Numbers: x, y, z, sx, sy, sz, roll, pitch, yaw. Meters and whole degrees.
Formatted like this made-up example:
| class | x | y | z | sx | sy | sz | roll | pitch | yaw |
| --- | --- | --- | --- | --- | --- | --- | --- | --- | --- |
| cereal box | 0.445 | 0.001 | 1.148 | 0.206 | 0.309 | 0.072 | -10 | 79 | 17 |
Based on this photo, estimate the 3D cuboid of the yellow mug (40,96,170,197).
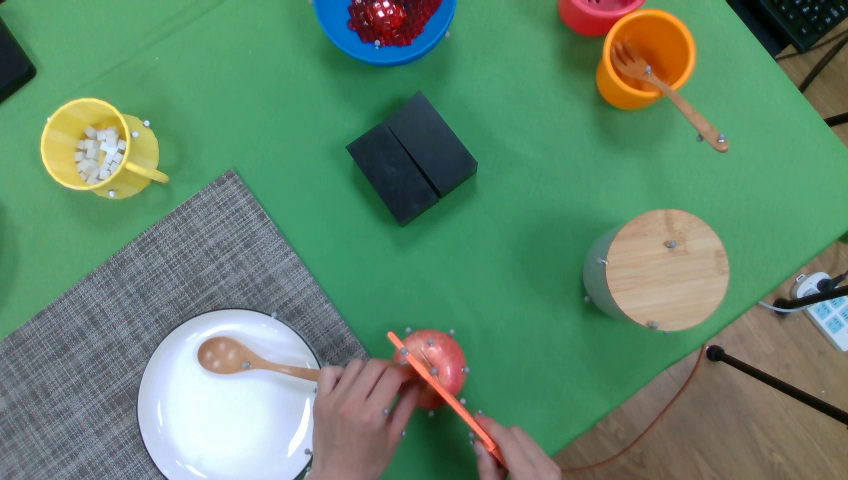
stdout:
| class | x | y | z | sx | sy | sz | roll | pitch | yaw |
| --- | --- | --- | --- | --- | --- | --- | --- | --- | --- |
| yellow mug | -0.343 | -0.096 | 0.672 | 0.131 | 0.064 | 0.100 | 24 | 88 | 3 |

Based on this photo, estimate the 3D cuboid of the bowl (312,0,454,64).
| class | x | y | z | sx | sy | sz | roll | pitch | yaw |
| --- | --- | --- | --- | --- | --- | --- | --- | --- | --- |
| bowl | -0.039 | -0.255 | 0.656 | 0.151 | 0.077 | 0.151 | 0 | 87 | 3 |

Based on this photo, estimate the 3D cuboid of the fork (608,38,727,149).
| class | x | y | z | sx | sy | sz | roll | pitch | yaw |
| --- | --- | --- | --- | --- | --- | --- | --- | --- | --- |
| fork | 0.237 | -0.150 | 0.600 | 0.028 | 0.019 | 0.205 | -21 | 43 | 2 |

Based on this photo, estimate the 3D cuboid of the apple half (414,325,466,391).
| class | x | y | z | sx | sy | sz | roll | pitch | yaw |
| --- | --- | --- | --- | --- | --- | --- | --- | --- | --- |
| apple half | 0.025 | 0.115 | 0.633 | 0.033 | 0.081 | 0.081 | -35 | 85 | 9 |

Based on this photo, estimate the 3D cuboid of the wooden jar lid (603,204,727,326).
| class | x | y | z | sx | sy | sz | roll | pitch | yaw |
| --- | --- | --- | --- | --- | --- | --- | --- | --- | --- |
| wooden jar lid | 0.214 | 0.022 | 0.543 | 0.108 | 0.021 | 0.108 | 0 | 89 | 2 |

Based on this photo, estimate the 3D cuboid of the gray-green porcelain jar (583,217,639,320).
| class | x | y | z | sx | sy | sz | roll | pitch | yaw |
| --- | --- | --- | --- | --- | --- | --- | --- | --- | --- |
| gray-green porcelain jar | 0.219 | 0.027 | 0.605 | 0.106 | 0.127 | 0.105 | 0 | 86 | 4 |

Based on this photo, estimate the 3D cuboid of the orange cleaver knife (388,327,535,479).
| class | x | y | z | sx | sy | sz | roll | pitch | yaw |
| --- | --- | --- | --- | --- | --- | --- | --- | --- | --- |
| orange cleaver knife | 0.037 | 0.159 | 0.570 | 0.012 | 0.076 | 0.213 | -42 | 113 | -5 |

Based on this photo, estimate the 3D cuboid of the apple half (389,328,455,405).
| class | x | y | z | sx | sy | sz | roll | pitch | yaw |
| --- | --- | --- | --- | --- | --- | --- | --- | --- | --- |
| apple half | -0.008 | 0.138 | 0.639 | 0.053 | 0.074 | 0.081 | -32 | 89 | 6 |

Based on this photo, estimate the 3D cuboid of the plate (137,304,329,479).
| class | x | y | z | sx | sy | sz | roll | pitch | yaw |
| --- | --- | --- | --- | --- | --- | --- | --- | --- | --- |
| plate | -0.204 | 0.173 | 0.661 | 0.209 | 0.038 | 0.209 | 0 | 87 | 3 |

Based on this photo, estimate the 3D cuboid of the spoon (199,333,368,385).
| class | x | y | z | sx | sy | sz | roll | pitch | yaw |
| --- | --- | --- | --- | --- | --- | --- | --- | --- | --- |
| spoon | -0.152 | 0.133 | 0.646 | 0.193 | 0.022 | 0.041 | 8 | 75 | 16 |
